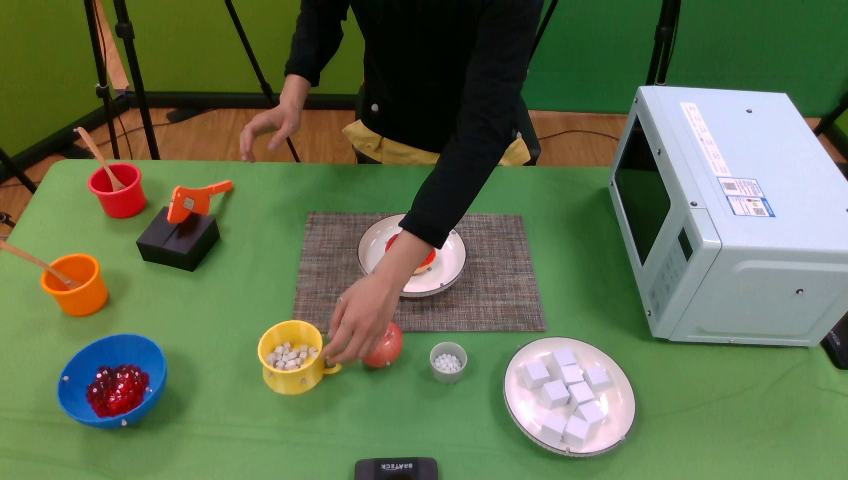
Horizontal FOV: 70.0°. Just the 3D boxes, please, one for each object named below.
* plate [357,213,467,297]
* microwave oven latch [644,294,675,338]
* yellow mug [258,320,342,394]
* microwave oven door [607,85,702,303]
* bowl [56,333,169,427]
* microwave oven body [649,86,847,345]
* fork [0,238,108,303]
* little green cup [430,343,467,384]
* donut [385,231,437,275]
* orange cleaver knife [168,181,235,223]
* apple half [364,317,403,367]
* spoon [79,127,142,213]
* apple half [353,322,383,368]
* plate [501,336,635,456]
[{"bbox_3d":[-0.023,0.032,1.150,0.209,0.038,0.208,2,46,-2],"label":"plate"},{"bbox_3d":[0.411,0.133,1.062,0.030,0.029,0.078,2,45,-1],"label":"microwave oven latch"},{"bbox_3d":[-0.195,0.189,0.972,0.131,0.064,0.099,9,46,4],"label":"yellow mug"},{"bbox_3d":[0.423,-0.094,1.140,0.039,0.245,0.353,2,46,-1],"label":"microwave oven door"},{"bbox_3d":[-0.456,0.223,0.911,0.151,0.077,0.150,3,46,-2],"label":"bowl"},{"bbox_3d":[0.568,-0.053,1.118,0.326,0.261,0.439,2,45,-1],"label":"microwave oven body"},{"bbox_3d":[-0.633,0.048,1.017,0.208,0.018,0.028,40,42,-27],"label":"fork"},{"bbox_3d":[0.039,0.203,0.993,0.061,0.039,0.061,2,46,-2],"label":"little green cup"},{"bbox_3d":[-0.025,0.024,1.141,0.099,0.048,0.098,3,44,-3],"label":"donut"},{"bbox_3d":[-0.436,-0.078,1.196,0.012,0.077,0.211,16,15,10],"label":"orange cleaver knife"},{"bbox_3d":[-0.063,0.165,1.000,0.053,0.075,0.080,-16,45,-24],"label":"apple half"},{"bbox_3d":[-0.625,-0.139,1.203,0.041,0.021,0.194,-33,100,-26],"label":"spoon"},{"bbox_3d":[-0.098,0.177,0.985,0.033,0.081,0.081,-16,49,-25],"label":"apple half"},{"bbox_3d":[0.225,0.249,0.963,0.208,0.039,0.206,2,46,-2],"label":"plate"}]
